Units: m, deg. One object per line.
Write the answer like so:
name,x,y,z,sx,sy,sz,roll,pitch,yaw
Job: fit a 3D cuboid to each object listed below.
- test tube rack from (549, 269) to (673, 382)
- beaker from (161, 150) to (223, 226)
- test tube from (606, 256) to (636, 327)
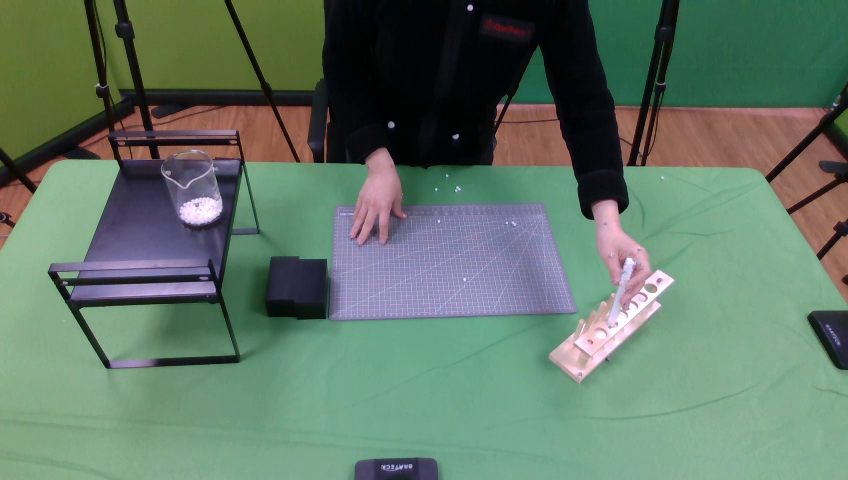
test tube rack,0.325,0.135,1.048,0.242,0.085,0.066,-32,55,-30
beaker,-0.356,-0.076,0.942,0.074,0.101,0.083,-4,47,-8
test tube,0.307,0.084,0.950,0.017,0.151,0.017,1,40,-1
